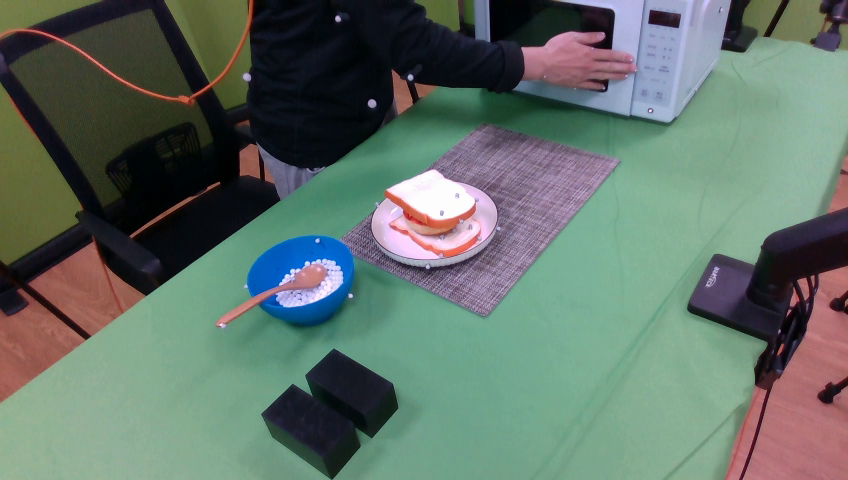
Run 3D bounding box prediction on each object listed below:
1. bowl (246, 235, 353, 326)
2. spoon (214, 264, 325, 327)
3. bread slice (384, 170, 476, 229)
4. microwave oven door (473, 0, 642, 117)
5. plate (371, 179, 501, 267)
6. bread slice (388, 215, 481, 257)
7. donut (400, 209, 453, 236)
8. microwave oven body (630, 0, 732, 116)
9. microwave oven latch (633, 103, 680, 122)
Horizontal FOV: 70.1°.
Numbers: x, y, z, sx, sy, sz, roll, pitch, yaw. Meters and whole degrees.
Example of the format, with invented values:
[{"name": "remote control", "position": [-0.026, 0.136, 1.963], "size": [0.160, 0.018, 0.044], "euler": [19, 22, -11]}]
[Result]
[{"name": "bowl", "position": [-0.170, 0.070, 0.868], "size": [0.151, 0.077, 0.150], "euler": [-4, 40, 4]}, {"name": "spoon", "position": [-0.206, 0.073, 0.821], "size": [0.041, 0.021, 0.195], "euler": [22, 27, 27]}, {"name": "bread slice", "position": [0.017, -0.064, 0.935], "size": [0.105, 0.019, 0.130], "euler": [-27, 46, -31]}, {"name": "microwave oven door", "position": [0.255, -0.394, 1.197], "size": [0.353, 0.245, 0.039], "euler": [22, 49, 30]}, {"name": "plate", "position": [0.020, -0.025, 0.977], "size": [0.207, 0.039, 0.206], "euler": [-4, 40, 4]}, {"name": "bread slice", "position": [0.026, -0.023, 0.973], "size": [0.107, 0.018, 0.133], "euler": [-36, 49, -28]}, {"name": "donut", "position": [0.011, -0.047, 0.956], "size": [0.099, 0.048, 0.098], "euler": [-5, 41, 5]}, {"name": "microwave oven body", "position": [0.377, -0.463, 1.267], "size": [0.438, 0.261, 0.327], "euler": [21, 49, 30]}, {"name": "microwave oven latch", "position": [0.444, -0.249, 1.158], "size": [0.078, 0.029, 0.030], "euler": [21, 49, 30]}]
